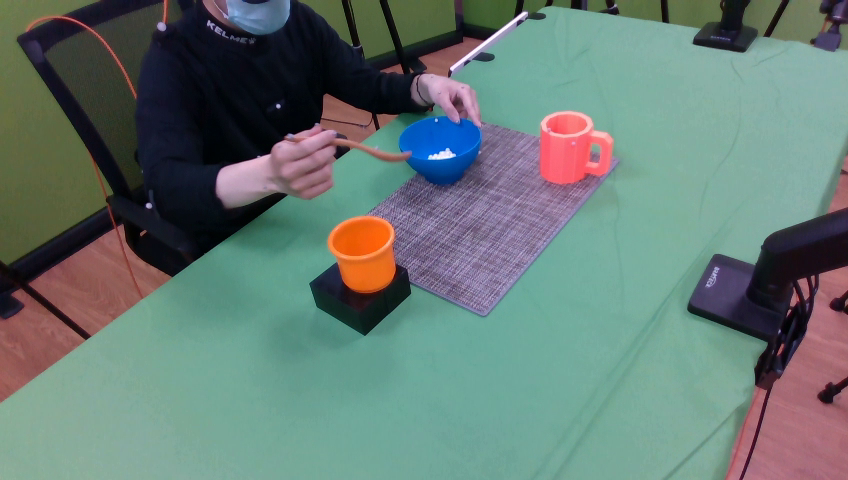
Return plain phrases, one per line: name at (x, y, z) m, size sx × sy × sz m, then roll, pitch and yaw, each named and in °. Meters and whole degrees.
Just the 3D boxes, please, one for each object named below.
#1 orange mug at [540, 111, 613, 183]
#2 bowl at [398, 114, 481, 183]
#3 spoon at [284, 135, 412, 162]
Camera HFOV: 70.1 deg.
orange mug at (0.263, -0.159, 1.052) m, size 0.125 × 0.101 × 0.083 m, roll 13°, pitch 44°, yaw 28°
bowl at (0.031, -0.156, 1.097) m, size 0.151 × 0.077 × 0.150 m, roll -4°, pitch 41°, yaw 4°
spoon at (-0.101, -0.129, 0.837) m, size 0.195 × 0.021 × 0.041 m, roll 7°, pitch -1°, yaw -34°
